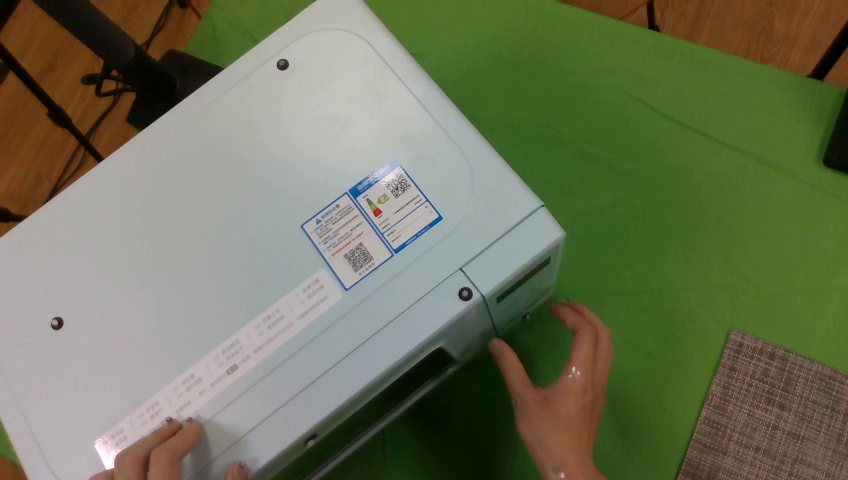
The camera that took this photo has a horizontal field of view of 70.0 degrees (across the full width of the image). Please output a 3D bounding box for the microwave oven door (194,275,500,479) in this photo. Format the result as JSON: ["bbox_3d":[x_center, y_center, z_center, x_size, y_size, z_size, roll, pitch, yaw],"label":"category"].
[{"bbox_3d":[-0.087,0.167,0.547,0.356,0.245,0.039,-38,71,-2],"label":"microwave oven door"}]

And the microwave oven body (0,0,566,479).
[{"bbox_3d":[-0.139,0.034,0.596,0.441,0.262,0.324,-38,73,-2],"label":"microwave oven body"}]

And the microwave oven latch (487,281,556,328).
[{"bbox_3d":[0.105,0.061,0.651,0.079,0.030,0.030,-36,73,-1],"label":"microwave oven latch"}]
